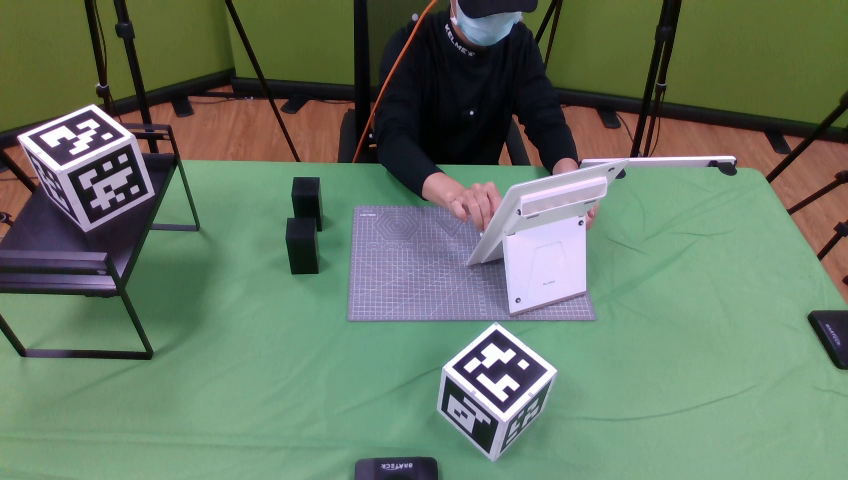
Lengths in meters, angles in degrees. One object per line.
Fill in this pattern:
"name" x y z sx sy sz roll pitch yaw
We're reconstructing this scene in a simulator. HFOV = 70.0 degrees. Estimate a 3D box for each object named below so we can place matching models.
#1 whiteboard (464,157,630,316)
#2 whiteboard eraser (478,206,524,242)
"whiteboard" 0.224 0.015 1.041 0.217 0.306 0.143 -14 68 -17
"whiteboard eraser" 0.135 -0.029 1.061 0.041 0.101 0.018 -2 62 -41
